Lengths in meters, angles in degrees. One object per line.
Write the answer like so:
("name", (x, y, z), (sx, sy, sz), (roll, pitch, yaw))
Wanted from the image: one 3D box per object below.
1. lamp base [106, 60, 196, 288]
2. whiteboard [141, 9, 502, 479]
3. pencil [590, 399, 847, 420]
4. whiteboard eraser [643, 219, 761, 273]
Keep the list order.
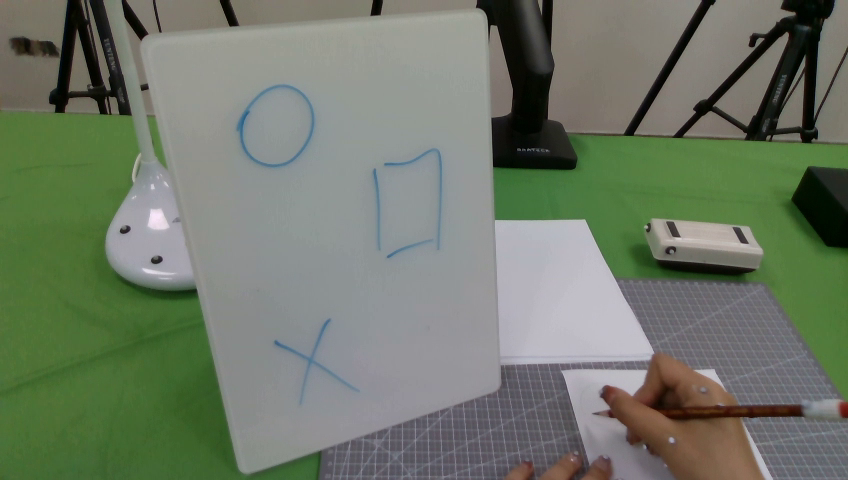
("lamp base", (-0.248, -0.071, 0.590), (0.177, 0.182, 0.160), (28, 44, 30))
("whiteboard", (-0.070, -0.010, 0.479), (0.218, 0.307, 0.142), (-12, 22, -19))
("pencil", (0.189, 0.119, 0.416), (0.012, 0.193, 0.012), (11, 69, -31))
("whiteboard eraser", (0.303, 0.008, 0.666), (0.113, 0.042, 0.055), (6, 39, 1))
